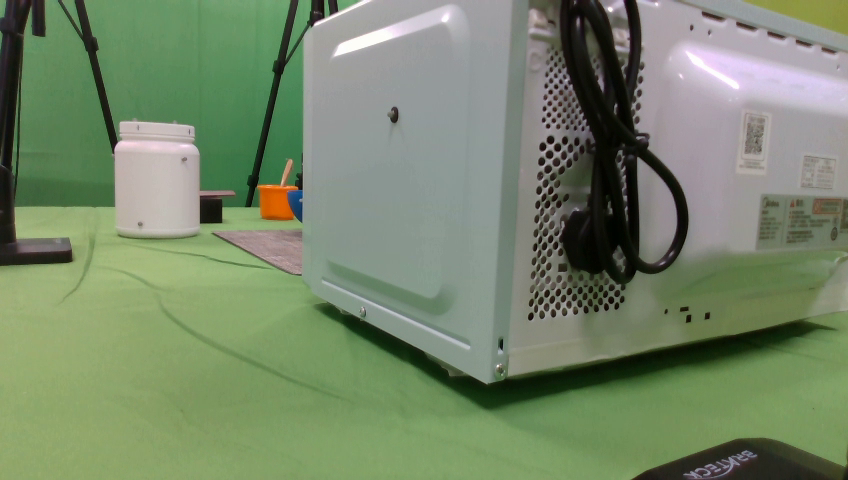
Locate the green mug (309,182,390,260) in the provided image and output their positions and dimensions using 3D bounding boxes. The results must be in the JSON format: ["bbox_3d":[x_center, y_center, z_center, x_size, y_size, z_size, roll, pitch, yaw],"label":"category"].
[{"bbox_3d":[-0.102,-0.029,0.864,0.126,0.105,0.092,-3,8,-40],"label":"green mug"}]

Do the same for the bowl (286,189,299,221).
[{"bbox_3d":[-0.179,-0.051,1.115,0.151,0.077,0.151,3,8,0],"label":"bowl"}]

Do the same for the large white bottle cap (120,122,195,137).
[{"bbox_3d":[-0.444,-0.183,1.010,0.115,0.018,0.115,2,7,0],"label":"large white bottle cap"}]

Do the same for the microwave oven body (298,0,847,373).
[{"bbox_3d":[0.151,-0.055,0.543,0.444,0.260,0.324,-1,7,-33],"label":"microwave oven body"}]

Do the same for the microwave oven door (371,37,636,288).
[{"bbox_3d":[0.109,-0.080,0.687,0.358,0.243,0.039,-2,9,-33],"label":"microwave oven door"}]

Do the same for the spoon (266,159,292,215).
[{"bbox_3d":[-0.333,-0.127,1.424,0.041,0.193,0.022,0,-37,7],"label":"spoon"}]

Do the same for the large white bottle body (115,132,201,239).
[{"bbox_3d":[-0.447,-0.100,1.020,0.131,0.184,0.130,3,7,0],"label":"large white bottle body"}]

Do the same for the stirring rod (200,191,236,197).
[{"bbox_3d":[-0.465,-0.098,1.283,0.014,0.006,0.177,41,21,17],"label":"stirring rod"}]

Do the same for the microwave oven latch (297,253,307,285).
[{"bbox_3d":[-0.082,0.027,0.583,0.079,0.029,0.030,-1,8,-33],"label":"microwave oven latch"}]
